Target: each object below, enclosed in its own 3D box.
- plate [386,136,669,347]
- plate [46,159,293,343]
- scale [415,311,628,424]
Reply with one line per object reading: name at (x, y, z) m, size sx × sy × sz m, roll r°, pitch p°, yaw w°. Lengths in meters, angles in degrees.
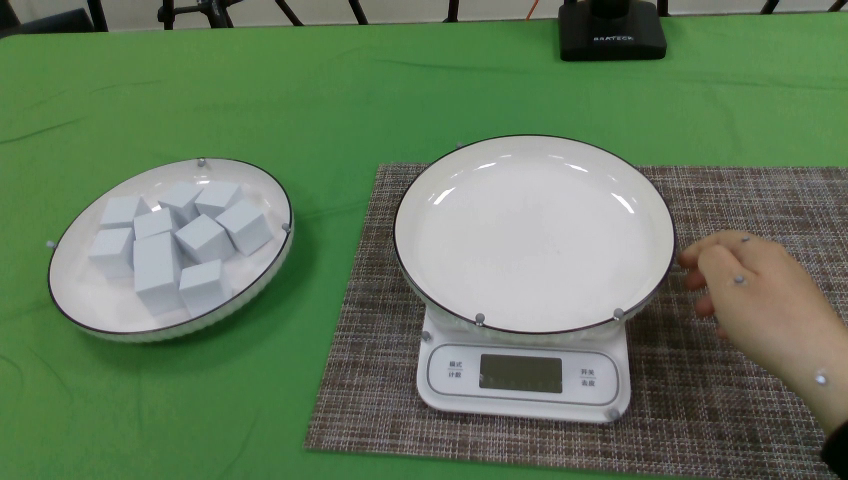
plate at (0.076, -0.002, 0.467) m, size 0.207 × 0.039 × 0.205 m, roll -2°, pitch 48°, yaw 3°
plate at (-0.217, 0.008, 0.537) m, size 0.209 × 0.038 × 0.207 m, roll -3°, pitch 47°, yaw 3°
scale at (0.076, 0.042, 0.472) m, size 0.148 × 0.032 × 0.199 m, roll 2°, pitch 48°, yaw 9°
